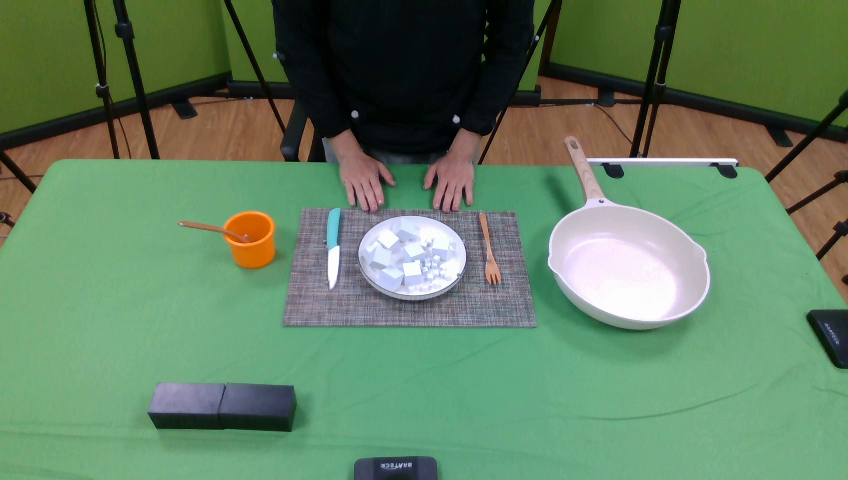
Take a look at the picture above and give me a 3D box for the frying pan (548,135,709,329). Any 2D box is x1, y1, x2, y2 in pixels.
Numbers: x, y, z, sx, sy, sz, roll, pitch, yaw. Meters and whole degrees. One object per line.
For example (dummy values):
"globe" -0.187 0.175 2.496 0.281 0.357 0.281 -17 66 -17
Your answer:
"frying pan" 0.360 -0.033 1.200 0.307 0.103 0.484 -4 55 -9

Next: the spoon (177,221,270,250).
"spoon" -0.358 -0.011 1.093 0.021 0.195 0.041 -52 54 10

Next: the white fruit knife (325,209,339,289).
"white fruit knife" -0.179 0.014 1.170 0.027 0.016 0.206 -4 47 -2

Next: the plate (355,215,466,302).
"plate" -0.025 0.038 1.144 0.208 0.039 0.206 2 46 -2

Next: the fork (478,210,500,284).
"fork" 0.124 0.010 1.194 0.028 0.019 0.206 -8 48 3
